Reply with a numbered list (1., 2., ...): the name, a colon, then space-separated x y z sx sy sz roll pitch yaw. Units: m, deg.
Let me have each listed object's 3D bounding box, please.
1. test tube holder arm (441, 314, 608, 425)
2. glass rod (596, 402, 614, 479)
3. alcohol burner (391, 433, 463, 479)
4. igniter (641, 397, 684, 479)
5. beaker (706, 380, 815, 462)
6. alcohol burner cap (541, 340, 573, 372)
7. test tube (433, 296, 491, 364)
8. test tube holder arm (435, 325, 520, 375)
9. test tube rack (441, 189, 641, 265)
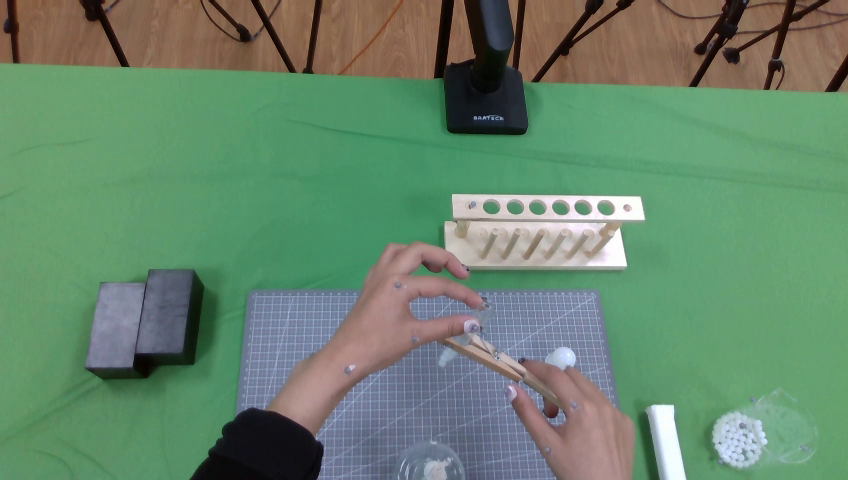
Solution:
1. test tube holder arm: 0.093 0.122 0.575 0.178 0.015 0.013 30 65 7
2. glass rod: 0.214 0.285 0.689 0.008 0.008 0.198 0 65 -7
3. alcohol burner: 0.004 0.237 0.629 0.078 0.120 0.077 2 62 -4
4. igniter: 0.283 0.316 0.676 0.057 0.025 0.274 5 64 -15
5. beaker: 0.379 0.212 0.695 0.074 0.101 0.083 13 63 0
6. alcohol burner cap: 0.164 0.138 0.733 0.034 0.048 0.033 3 65 -5
7. test tube: 0.033 0.090 0.581 0.017 0.151 0.017 7 60 -12
8. test tube holder arm: 0.051 0.105 0.577 0.087 0.015 0.010 24 64 5
9. test tube rack: 0.148 -0.015 0.782 0.243 0.086 0.066 0 65 -6
